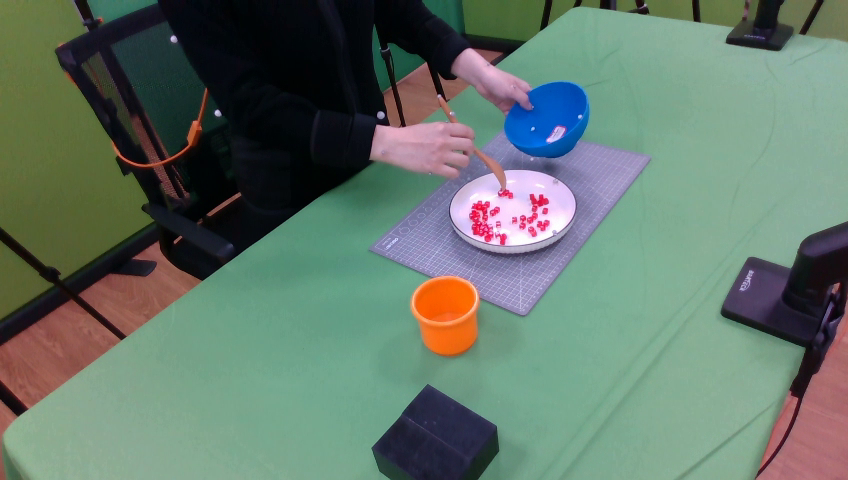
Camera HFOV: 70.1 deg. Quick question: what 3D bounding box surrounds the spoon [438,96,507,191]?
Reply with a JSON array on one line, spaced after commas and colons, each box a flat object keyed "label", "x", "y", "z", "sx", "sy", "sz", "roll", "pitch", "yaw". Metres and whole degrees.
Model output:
[{"label": "spoon", "x": 0.076, "y": -0.144, "z": 0.922, "sx": 0.021, "sy": 0.195, "sz": 0.041, "roll": -29, "pitch": 36, "yaw": 27}]

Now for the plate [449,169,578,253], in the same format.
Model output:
[{"label": "plate", "x": 0.146, "y": -0.044, "z": 0.993, "sx": 0.209, "sy": 0.038, "sz": 0.208, "roll": -5, "pitch": 40, "yaw": 5}]

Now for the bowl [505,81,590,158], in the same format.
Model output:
[{"label": "bowl", "x": 0.226, "y": -0.197, "z": 1.066, "sx": 0.151, "sy": 0.077, "sz": 0.150, "roll": -18, "pitch": 49, "yaw": 22}]
